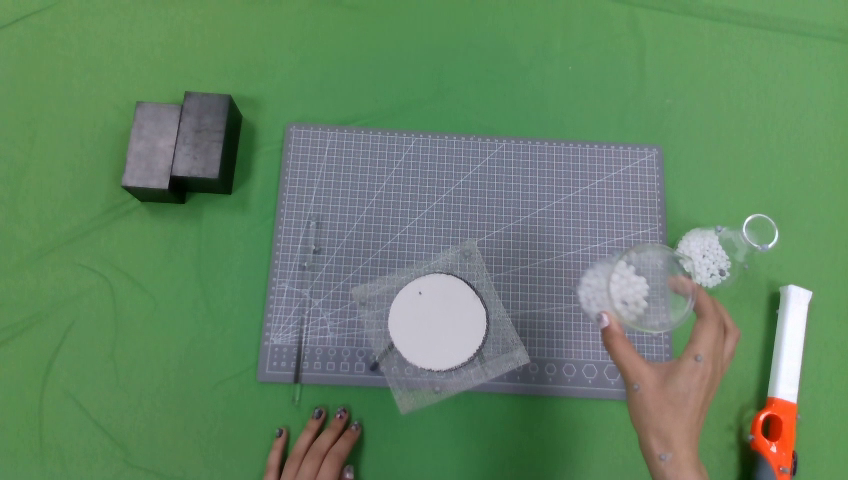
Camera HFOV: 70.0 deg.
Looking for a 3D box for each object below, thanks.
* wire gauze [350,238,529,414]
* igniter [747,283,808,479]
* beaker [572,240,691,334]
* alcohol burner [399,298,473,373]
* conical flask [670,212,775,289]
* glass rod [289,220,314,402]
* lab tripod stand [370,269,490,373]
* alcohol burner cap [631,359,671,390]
[{"bbox_3d":[0.013,0.074,0.535,0.125,0.011,0.121,-22,79,-7],"label":"wire gauze"},{"bbox_3d":[0.379,0.180,0.652,0.057,0.025,0.275,19,76,-8],"label":"igniter"},{"bbox_3d":[0.180,0.041,0.538,0.084,0.100,0.074,-33,86,-7],"label":"beaker"},{"bbox_3d":[0.012,0.094,0.610,0.078,0.119,0.077,0,74,0],"label":"alcohol burner"},{"bbox_3d":[0.321,0.005,0.644,0.075,0.122,0.075,0,75,-1],"label":"conical flask"},{"bbox_3d":[-0.133,0.075,0.662,0.008,0.008,0.199,4,79,-2],"label":"glass rod"},{"bbox_3d":[0.009,0.090,0.600,0.148,0.132,0.147,0,77,-2],"label":"lab tripod stand"},{"bbox_3d":[0.245,0.142,0.645,0.034,0.048,0.033,1,75,-2],"label":"alcohol burner cap"}]
